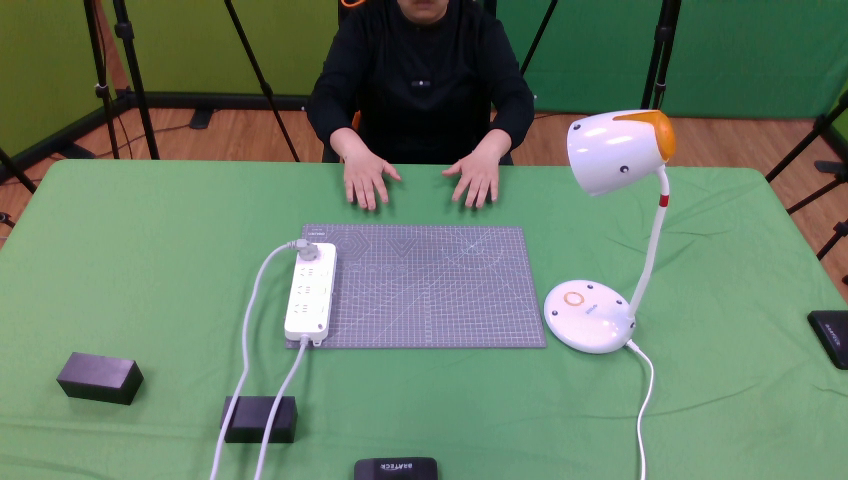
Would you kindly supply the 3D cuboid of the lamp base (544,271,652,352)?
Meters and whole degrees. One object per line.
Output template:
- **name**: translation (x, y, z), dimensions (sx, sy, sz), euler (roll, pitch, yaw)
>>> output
- **lamp base**: translation (0.309, 0.086, 1.029), dimensions (0.178, 0.181, 0.160), euler (32, 52, 21)

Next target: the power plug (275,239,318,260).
- **power plug**: translation (-0.232, 0.018, 1.119), dimensions (0.072, 0.053, 0.035), euler (8, 46, 6)

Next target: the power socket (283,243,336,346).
- **power socket**: translation (-0.203, 0.088, 1.086), dimensions (0.072, 0.033, 0.225), euler (1, 46, -2)

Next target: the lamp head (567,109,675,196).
- **lamp head**: translation (0.272, -0.123, 0.818), dimensions (0.122, 0.113, 0.112), euler (-9, 35, 37)
